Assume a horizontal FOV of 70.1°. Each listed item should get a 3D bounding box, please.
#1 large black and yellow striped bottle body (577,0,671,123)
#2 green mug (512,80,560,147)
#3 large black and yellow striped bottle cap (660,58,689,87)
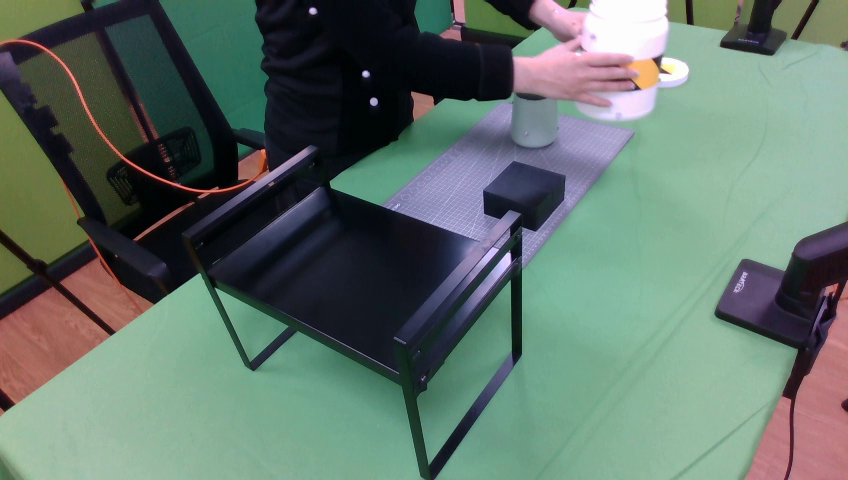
[{"bbox_3d":[0.325,-0.299,0.984,0.131,0.184,0.130,-2,38,2],"label":"large black and yellow striped bottle body"},{"bbox_3d":[0.217,-0.251,1.169,0.092,0.105,0.125,1,41,12],"label":"green mug"},{"bbox_3d":[0.521,-0.370,1.332,0.115,0.019,0.114,-3,41,3],"label":"large black and yellow striped bottle cap"}]
